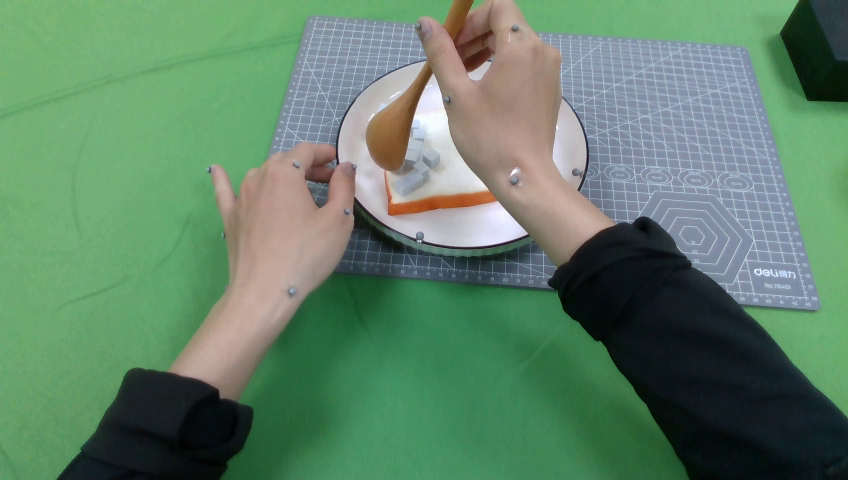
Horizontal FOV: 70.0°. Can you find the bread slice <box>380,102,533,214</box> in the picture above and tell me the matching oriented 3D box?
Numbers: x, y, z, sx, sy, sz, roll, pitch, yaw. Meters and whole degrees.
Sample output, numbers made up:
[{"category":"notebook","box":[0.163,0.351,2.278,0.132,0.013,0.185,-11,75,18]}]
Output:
[{"category":"bread slice","box":[0.025,-0.076,0.514,0.132,0.019,0.104,-8,59,-6]}]

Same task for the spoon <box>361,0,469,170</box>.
[{"category":"spoon","box":[-0.001,-0.120,0.413,0.041,0.194,0.022,48,41,15]}]

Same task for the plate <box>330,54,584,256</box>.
[{"category":"plate","box":[0.027,-0.072,0.509,0.209,0.038,0.207,1,58,-1]}]
